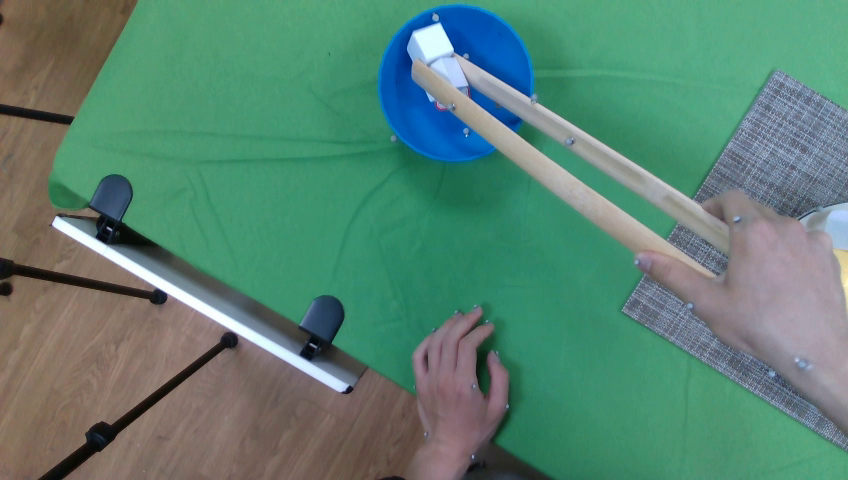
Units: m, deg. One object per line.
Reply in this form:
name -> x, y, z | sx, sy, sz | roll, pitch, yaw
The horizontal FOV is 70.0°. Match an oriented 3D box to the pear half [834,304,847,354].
pear half -> 0.468, 0.087, 0.613 | 0.088, 0.031, 0.070 | -27, 94, 9

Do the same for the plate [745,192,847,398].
plate -> 0.431, 0.055, 0.619 | 0.207, 0.039, 0.207 | 0, 92, 3

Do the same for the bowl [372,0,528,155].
bowl -> 0.026, -0.157, 0.614 | 0.151, 0.077, 0.151 | 0, 92, 2

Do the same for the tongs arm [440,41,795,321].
tongs arm -> 0.129, -0.070, 0.506 | 0.051, 0.027, 0.381 | -31, 57, -30

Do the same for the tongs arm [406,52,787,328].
tongs arm -> 0.107, -0.059, 0.494 | 0.028, 0.028, 0.383 | -26, 54, -31

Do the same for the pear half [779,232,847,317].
pear half -> 0.412, 0.024, 0.605 | 0.076, 0.056, 0.110 | 41, 89, -3
